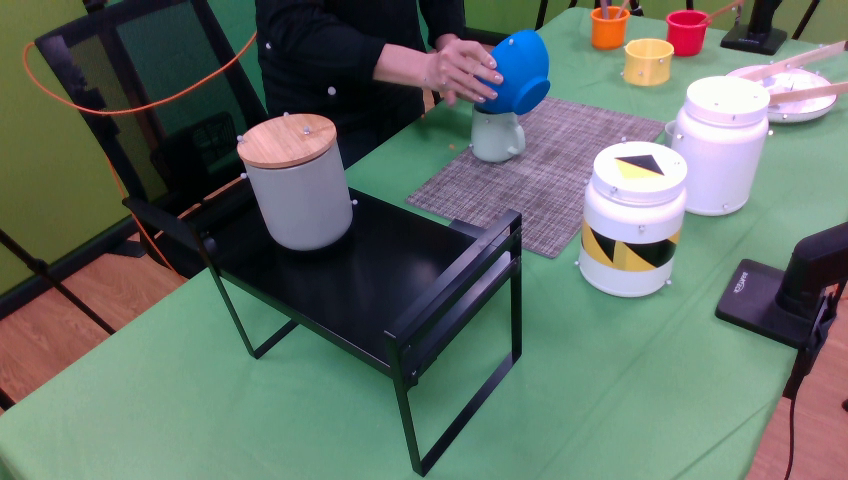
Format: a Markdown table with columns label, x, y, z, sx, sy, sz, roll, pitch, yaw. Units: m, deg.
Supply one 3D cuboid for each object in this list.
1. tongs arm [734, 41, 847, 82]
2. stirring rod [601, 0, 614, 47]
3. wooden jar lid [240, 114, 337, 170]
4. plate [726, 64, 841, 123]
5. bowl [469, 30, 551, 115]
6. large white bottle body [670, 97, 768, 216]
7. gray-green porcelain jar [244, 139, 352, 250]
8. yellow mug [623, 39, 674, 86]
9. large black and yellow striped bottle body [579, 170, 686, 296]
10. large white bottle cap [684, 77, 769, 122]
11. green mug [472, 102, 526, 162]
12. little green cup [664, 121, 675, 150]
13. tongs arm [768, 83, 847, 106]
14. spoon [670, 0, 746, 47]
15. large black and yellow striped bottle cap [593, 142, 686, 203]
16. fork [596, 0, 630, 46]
| label | x | y | z | sx | sy | sz | roll | pitch | yaw |
| --- | --- | --- | --- | --- | --- | --- | --- | --- | --- |
| tongs arm | 0.712 | -0.332 | 1.194 | 0.386 | 0.026 | 0.050 | -18 | 45 | -16 |
| stirring rod | 0.439 | -0.552 | 1.463 | 0.014 | 0.006 | 0.175 | -7 | 83 | 3 |
| wooden jar lid | -0.149 | -0.106 | 0.673 | 0.108 | 0.021 | 0.108 | -6 | 38 | 5 |
| plate | 0.695 | -0.282 | 1.189 | 0.207 | 0.039 | 0.206 | -4 | 40 | 4 |
| bowl | 0.158 | -0.262 | 1.005 | 0.152 | 0.151 | 0.076 | -29 | 70 | -23 |
| large white bottle body | 0.458 | -0.146 | 0.952 | 0.130 | 0.185 | 0.130 | -4 | 40 | 4 |
| gray-green porcelain jar | -0.144 | -0.060 | 0.714 | 0.106 | 0.127 | 0.105 | -4 | 41 | 4 |
| yellow mug | 0.484 | -0.398 | 1.334 | 0.100 | 0.064 | 0.130 | -18 | 41 | -11 |
| large black and yellow striped bottle body | 0.287 | -0.027 | 0.841 | 0.131 | 0.185 | 0.130 | -4 | 41 | 4 |
| large white bottle cap | 0.448 | -0.209 | 0.898 | 0.115 | 0.018 | 0.114 | -4 | 40 | 4 |
| green mug | 0.144 | -0.202 | 1.122 | 0.093 | 0.105 | 0.124 | -29 | 45 | -23 |
| little green cup | 0.472 | -0.188 | 1.113 | 0.061 | 0.039 | 0.061 | -5 | 40 | 5 |
| tongs arm | 0.738 | -0.282 | 1.134 | 0.388 | 0.028 | 0.028 | -9 | 47 | -5 |
| spoon | 0.629 | -0.484 | 1.350 | 0.022 | 0.193 | 0.042 | 48 | 54 | -7 |
| large black and yellow striped bottle cap | 0.280 | -0.090 | 0.786 | 0.115 | 0.019 | 0.114 | -5 | 41 | 5 |
| fork | 0.481 | -0.556 | 1.453 | 0.028 | 0.019 | 0.207 | 40 | 103 | 38 |
